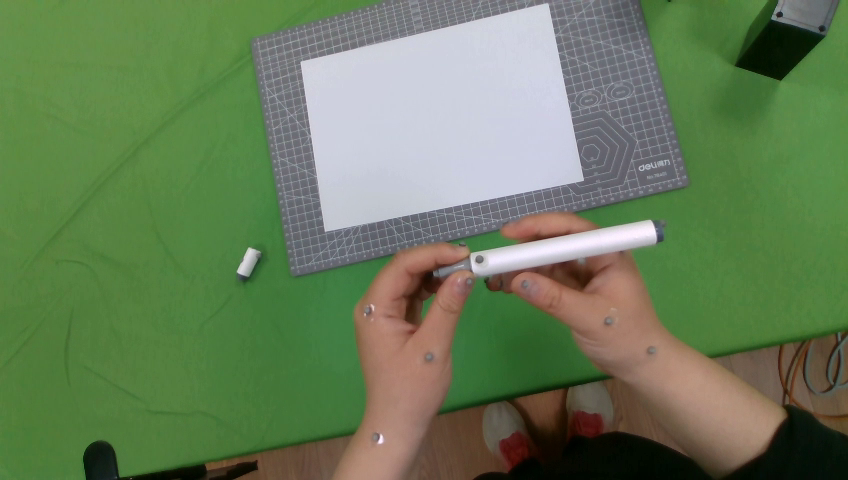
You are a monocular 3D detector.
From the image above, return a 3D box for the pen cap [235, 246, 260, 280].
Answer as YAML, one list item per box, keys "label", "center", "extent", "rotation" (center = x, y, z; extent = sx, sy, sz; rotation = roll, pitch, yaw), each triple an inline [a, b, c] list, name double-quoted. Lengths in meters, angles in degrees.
- label: "pen cap"
  center: [-0.205, 0.027, 0.702]
  extent: [0.017, 0.017, 0.038]
  rotation: [25, 87, 12]

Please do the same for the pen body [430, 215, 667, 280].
- label: "pen body"
  center: [0.073, 0.008, 0.370]
  extent: [0.144, 0.017, 0.017]
  rotation: [-13, 81, 9]
